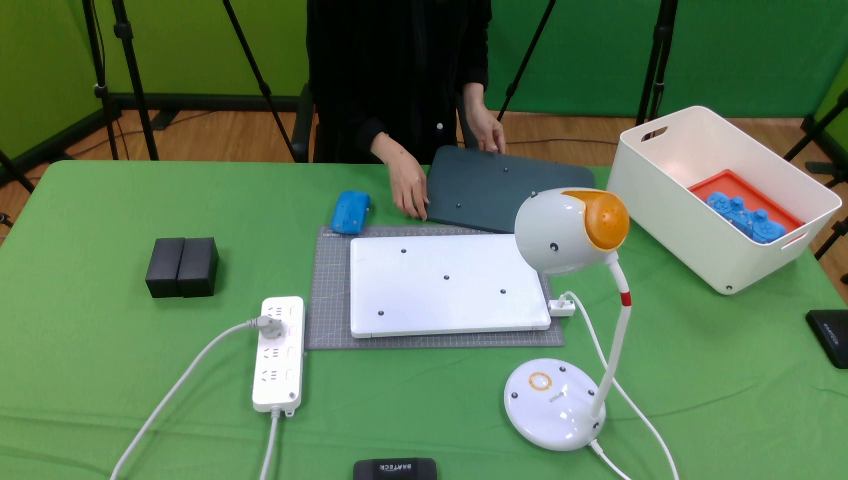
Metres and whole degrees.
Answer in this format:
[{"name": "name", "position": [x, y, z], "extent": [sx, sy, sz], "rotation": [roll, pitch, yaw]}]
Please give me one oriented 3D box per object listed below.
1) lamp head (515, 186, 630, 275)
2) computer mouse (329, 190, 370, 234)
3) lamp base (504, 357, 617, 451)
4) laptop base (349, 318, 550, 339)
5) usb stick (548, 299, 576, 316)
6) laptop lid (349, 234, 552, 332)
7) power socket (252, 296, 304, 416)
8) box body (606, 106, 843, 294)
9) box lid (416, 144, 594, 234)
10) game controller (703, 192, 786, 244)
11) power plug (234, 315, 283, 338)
[{"name": "lamp head", "position": [0.188, -0.013, 0.728], "extent": [0.112, 0.112, 0.122], "rotation": [-25, 9, -25]}, {"name": "computer mouse", "position": [-0.150, -0.061, 1.232], "extent": [0.063, 0.041, 0.116], "rotation": [10, 48, 3]}, {"name": "lamp base", "position": [0.220, 0.211, 0.903], "extent": [0.160, 0.181, 0.178], "rotation": [-33, 59, -30]}, {"name": "laptop base", "position": [0.039, 0.081, 1.124], "extent": [0.355, 0.023, 0.234], "rotation": [-2, 43, -6]}, {"name": "usb stick", "position": [0.239, 0.121, 1.084], "extent": [0.059, 0.027, 0.021], "rotation": [-1, 51, -1]}, {"name": "laptop lid", "position": [0.040, 0.071, 1.118], "extent": [0.357, 0.013, 0.240], "rotation": [0, 44, -5]}, {"name": "power socket", "position": [-0.238, 0.181, 0.997], "extent": [0.072, 0.033, 0.225], "rotation": [-3, 47, -5]}, {"name": "box body", "position": [0.582, -0.089, 1.230], "extent": [0.254, 0.161, 0.361], "rotation": [-22, 52, -23]}, {"name": "box lid", "position": [0.186, -0.104, 1.321], "extent": [0.371, 0.015, 0.262], "rotation": [10, 46, 6]}, {"name": "game controller", "position": [0.612, -0.044, 1.167], "extent": [0.154, 0.052, 0.097], "rotation": [36, 57, 27]}, {"name": "power plug", "position": [-0.269, 0.143, 1.000], "extent": [0.072, 0.053, 0.035], "rotation": [4, 47, 3]}]
